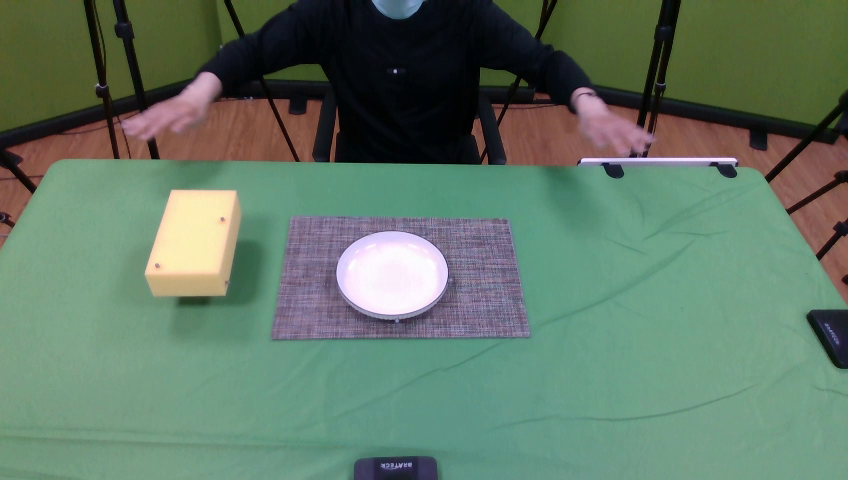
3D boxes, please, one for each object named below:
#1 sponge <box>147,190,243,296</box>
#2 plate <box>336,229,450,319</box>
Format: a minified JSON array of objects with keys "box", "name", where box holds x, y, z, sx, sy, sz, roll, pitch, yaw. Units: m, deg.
[{"box":[-0.399,0.001,1.071,0.118,0.061,0.205,-1,46,-5],"name":"sponge"},{"box":[-0.056,0.065,1.113,0.208,0.039,0.206,2,46,-2],"name":"plate"}]
